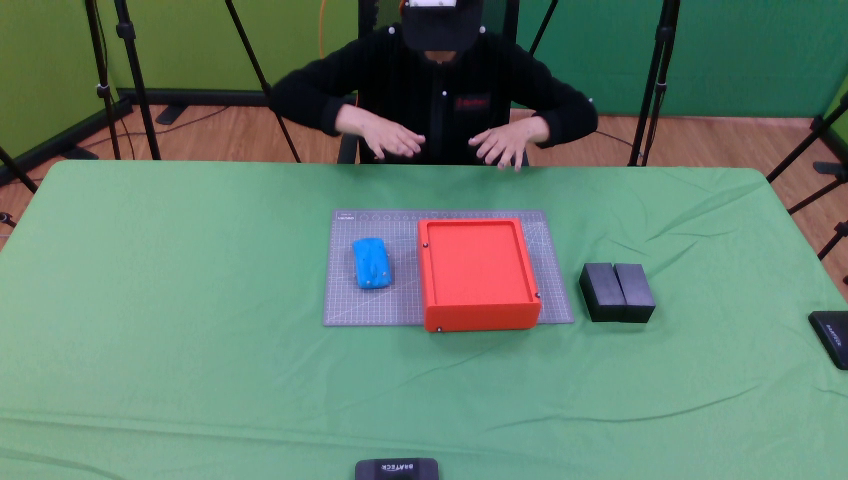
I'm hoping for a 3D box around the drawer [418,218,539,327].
[{"bbox_3d":[0.092,0.055,1.108,0.195,0.073,0.210,0,47,-6],"label":"drawer"}]

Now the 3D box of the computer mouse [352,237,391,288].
[{"bbox_3d":[-0.100,0.039,1.140,0.063,0.041,0.116,-4,51,-11],"label":"computer mouse"}]

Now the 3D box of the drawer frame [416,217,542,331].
[{"bbox_3d":[0.092,0.056,1.105,0.202,0.083,0.212,-1,47,-6],"label":"drawer frame"}]
